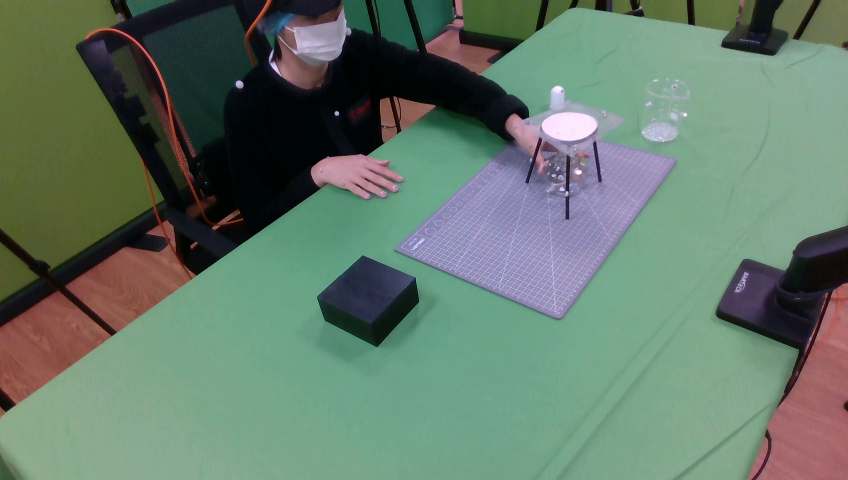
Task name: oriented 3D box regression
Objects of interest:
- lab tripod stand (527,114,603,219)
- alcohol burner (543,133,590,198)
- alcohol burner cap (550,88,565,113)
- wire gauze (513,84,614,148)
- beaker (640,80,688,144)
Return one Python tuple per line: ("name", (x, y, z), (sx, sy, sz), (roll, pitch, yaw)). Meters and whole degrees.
("lab tripod stand", (0.234, -0.129, 1.002), (0.148, 0.132, 0.147), (-6, 40, 6))
("alcohol burner", (0.240, -0.131, 1.017), (0.078, 0.119, 0.077), (-5, 43, 5))
("alcohol burner cap", (0.281, -0.296, 1.271), (0.034, 0.048, 0.033), (-5, 41, 5))
("wire gauze", (0.220, -0.194, 0.951), (0.120, 0.011, 0.125), (23, 56, 25))
("beaker", (0.446, -0.235, 1.126), (0.074, 0.101, 0.083), (-34, 47, -27))
